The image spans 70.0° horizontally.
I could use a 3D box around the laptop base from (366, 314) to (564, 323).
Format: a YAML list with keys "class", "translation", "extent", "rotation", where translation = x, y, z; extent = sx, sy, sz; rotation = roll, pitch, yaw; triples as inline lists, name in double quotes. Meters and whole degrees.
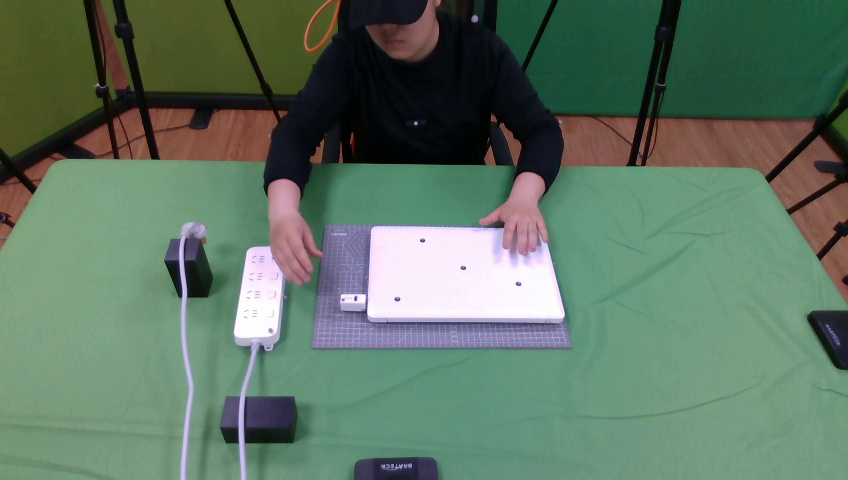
- class: "laptop base"
  translation: [0.071, 0.064, 1.144]
  extent: [0.355, 0.023, 0.234]
  rotation: [1, 43, -4]

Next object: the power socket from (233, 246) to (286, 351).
- class: "power socket"
  translation: [-0.290, 0.094, 1.077]
  extent: [0.072, 0.033, 0.225]
  rotation: [-2, 46, -5]

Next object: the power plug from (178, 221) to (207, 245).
- class: "power plug"
  translation: [-0.412, -0.002, 1.069]
  extent: [0.035, 0.053, 0.072]
  rotation: [-2, 41, 24]

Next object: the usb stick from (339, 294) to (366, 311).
- class: "usb stick"
  translation: [-0.119, 0.111, 1.068]
  extent: [0.059, 0.027, 0.021]
  rotation: [4, 48, -4]

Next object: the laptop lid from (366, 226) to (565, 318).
- class: "laptop lid"
  translation: [0.072, 0.054, 1.137]
  extent: [0.357, 0.013, 0.240]
  rotation: [2, 44, -3]
